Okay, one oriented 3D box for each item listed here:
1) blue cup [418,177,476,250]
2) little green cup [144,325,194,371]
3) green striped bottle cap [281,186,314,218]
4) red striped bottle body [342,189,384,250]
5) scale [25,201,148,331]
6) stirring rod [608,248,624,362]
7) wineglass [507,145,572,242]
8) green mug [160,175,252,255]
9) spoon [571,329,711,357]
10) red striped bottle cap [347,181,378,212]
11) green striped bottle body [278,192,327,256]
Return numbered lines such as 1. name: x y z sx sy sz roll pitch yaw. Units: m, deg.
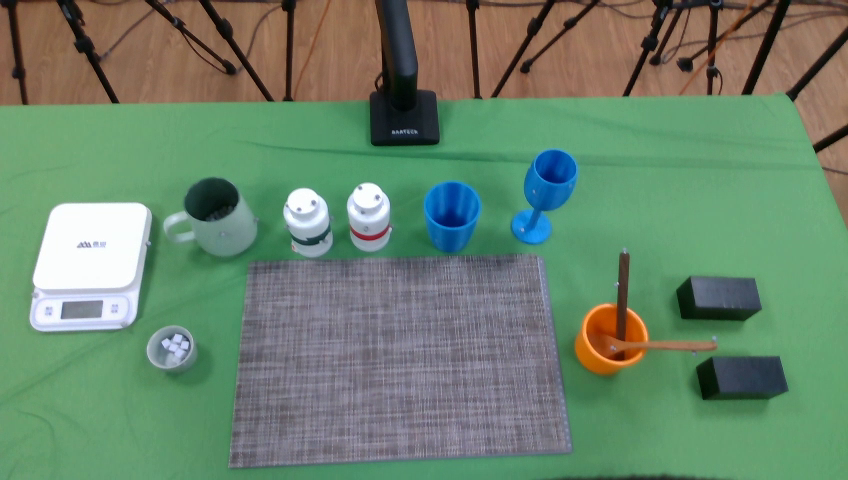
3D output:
1. blue cup: 0.033 -0.033 0.926 0.093 0.101 0.092 1 63 -1
2. little green cup: -0.350 0.152 0.841 0.061 0.039 0.061 2 62 -3
3. green striped bottle cap: -0.178 -0.054 0.854 0.044 0.020 0.044 2 62 -3
4. red striped bottle body: -0.091 -0.038 0.910 0.063 0.120 0.062 2 62 -3
5. scale: -0.497 0.034 0.895 0.149 0.032 0.199 -2 63 -4
6. stirring rod: 0.269 0.094 0.850 0.014 0.177 0.006 1 22 11
7. wineglass: 0.170 -0.066 0.911 0.074 0.173 0.073 1 62 -2
8. green mug: -0.326 -0.030 0.899 0.125 0.105 0.091 -21 66 -14
9. spoon: 0.290 0.141 0.828 0.022 0.193 0.041 30 63 -37
10. red striped bottle cap: -0.088 -0.063 0.863 0.044 0.018 0.044 3 61 -5
11. green striped bottle body: -0.180 -0.029 0.900 0.063 0.120 0.062 1 62 -2
